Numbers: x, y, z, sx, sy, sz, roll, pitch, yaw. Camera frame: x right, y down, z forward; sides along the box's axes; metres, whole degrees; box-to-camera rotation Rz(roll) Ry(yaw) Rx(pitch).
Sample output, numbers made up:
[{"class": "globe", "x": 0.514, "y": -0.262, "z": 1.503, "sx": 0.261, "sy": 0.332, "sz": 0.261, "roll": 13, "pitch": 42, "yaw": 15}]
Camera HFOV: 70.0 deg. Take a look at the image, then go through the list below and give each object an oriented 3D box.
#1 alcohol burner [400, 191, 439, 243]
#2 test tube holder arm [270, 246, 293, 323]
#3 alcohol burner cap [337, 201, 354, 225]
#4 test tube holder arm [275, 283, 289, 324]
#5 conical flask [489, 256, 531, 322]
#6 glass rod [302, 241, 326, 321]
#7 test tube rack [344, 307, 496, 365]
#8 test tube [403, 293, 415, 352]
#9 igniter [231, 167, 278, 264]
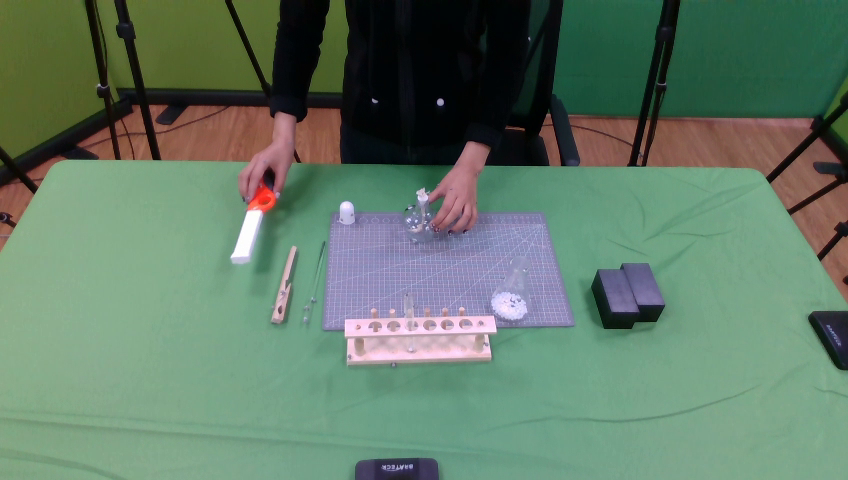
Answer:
[{"class": "alcohol burner", "x": -0.007, "y": -0.052, "z": 1.182, "sx": 0.078, "sy": 0.119, "sz": 0.077, "roll": 3, "pitch": 47, "yaw": -3}, {"class": "test tube holder arm", "x": -0.259, "y": 0.076, "z": 1.106, "sx": 0.013, "sy": 0.015, "sz": 0.177, "roll": 27, "pitch": 39, "yaw": -27}, {"class": "alcohol burner cap", "x": -0.159, "y": -0.056, "z": 1.224, "sx": 0.034, "sy": 0.048, "sz": 0.033, "roll": 2, "pitch": 46, "yaw": -2}, {"class": "test tube holder arm", "x": -0.253, "y": 0.111, "z": 1.077, "sx": 0.010, "sy": 0.015, "sz": 0.087, "roll": 28, "pitch": 38, "yaw": -26}, {"class": "conical flask", "x": 0.158, "y": 0.081, "z": 1.061, "sx": 0.075, "sy": 0.122, "sz": 0.075, "roll": 2, "pitch": 46, "yaw": -2}, {"class": "glass rod", "x": -0.203, "y": 0.071, "z": 1.124, "sx": 0.008, "sy": 0.008, "sz": 0.198, "roll": 4, "pitch": 44, "yaw": 1}, {"class": "test tube rack", "x": -0.009, "y": 0.154, "z": 1.007, "sx": 0.242, "sy": 0.085, "sz": 0.066, "roll": -1, "pitch": 46, "yaw": -5}, {"class": "test tube", "x": -0.024, "y": 0.133, "z": 0.957, "sx": 0.017, "sy": 0.151, "sz": 0.017, "roll": 0, "pitch": 48, "yaw": 0}, {"class": "igniter", "x": -0.326, "y": -0.056, "z": 1.174, "sx": 0.057, "sy": 0.025, "sz": 0.275, "roll": -1, "pitch": 42, "yaw": 2}]
